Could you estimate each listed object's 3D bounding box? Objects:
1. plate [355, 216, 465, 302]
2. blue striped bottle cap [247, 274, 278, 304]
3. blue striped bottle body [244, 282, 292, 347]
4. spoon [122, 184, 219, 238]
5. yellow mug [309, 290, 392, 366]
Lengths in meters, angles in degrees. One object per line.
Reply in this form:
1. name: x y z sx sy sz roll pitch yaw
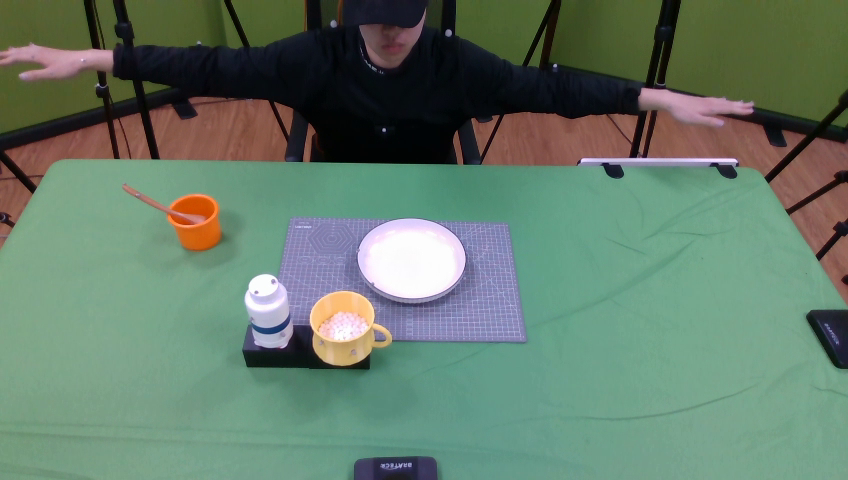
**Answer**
1. plate: -0.027 0.039 1.144 0.208 0.039 0.206 2 46 -2
2. blue striped bottle cap: -0.239 0.072 0.900 0.044 0.021 0.044 4 46 -4
3. blue striped bottle body: -0.241 0.108 0.937 0.063 0.121 0.062 2 46 -2
4. spoon: -0.463 -0.052 1.117 0.195 0.021 0.041 28 37 -35
5. yellow mug: -0.114 0.141 0.954 0.131 0.064 0.099 12 47 6
